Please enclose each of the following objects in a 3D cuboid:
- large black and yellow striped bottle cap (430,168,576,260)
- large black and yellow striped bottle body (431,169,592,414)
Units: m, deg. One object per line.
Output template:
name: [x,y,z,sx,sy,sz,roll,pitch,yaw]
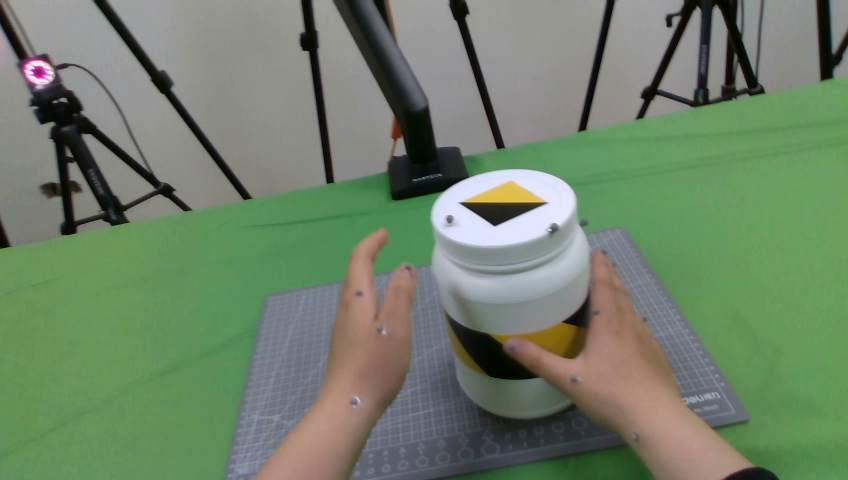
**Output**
large black and yellow striped bottle cap: [0.061,-0.024,0.480,0.115,0.019,0.114,-8,33,5]
large black and yellow striped bottle body: [0.078,0.044,0.527,0.130,0.186,0.129,-8,35,6]
